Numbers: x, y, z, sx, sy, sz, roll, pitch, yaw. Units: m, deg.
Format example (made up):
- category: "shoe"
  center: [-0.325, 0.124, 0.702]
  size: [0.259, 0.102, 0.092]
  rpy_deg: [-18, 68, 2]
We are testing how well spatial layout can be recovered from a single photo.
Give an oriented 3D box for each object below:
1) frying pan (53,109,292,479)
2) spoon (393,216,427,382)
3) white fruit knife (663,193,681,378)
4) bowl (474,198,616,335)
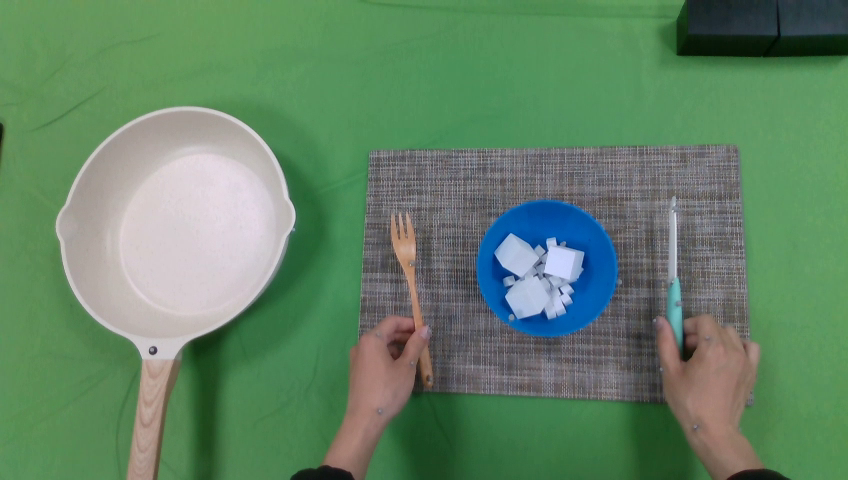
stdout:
- category: "frying pan"
  center: [-0.306, 0.081, 0.724]
  size: [0.306, 0.103, 0.484]
  rpy_deg: [-1, 70, 8]
- category: "spoon"
  center: [-0.011, 0.067, 0.703]
  size: [0.042, 0.022, 0.192]
  rpy_deg: [-1, 74, -13]
- category: "white fruit knife"
  center: [0.273, 0.049, 0.673]
  size: [0.016, 0.027, 0.206]
  rpy_deg: [2, 81, 0]
- category: "bowl"
  center: [0.134, 0.035, 0.684]
  size: [0.151, 0.077, 0.150]
  rpy_deg: [-1, 78, 7]
